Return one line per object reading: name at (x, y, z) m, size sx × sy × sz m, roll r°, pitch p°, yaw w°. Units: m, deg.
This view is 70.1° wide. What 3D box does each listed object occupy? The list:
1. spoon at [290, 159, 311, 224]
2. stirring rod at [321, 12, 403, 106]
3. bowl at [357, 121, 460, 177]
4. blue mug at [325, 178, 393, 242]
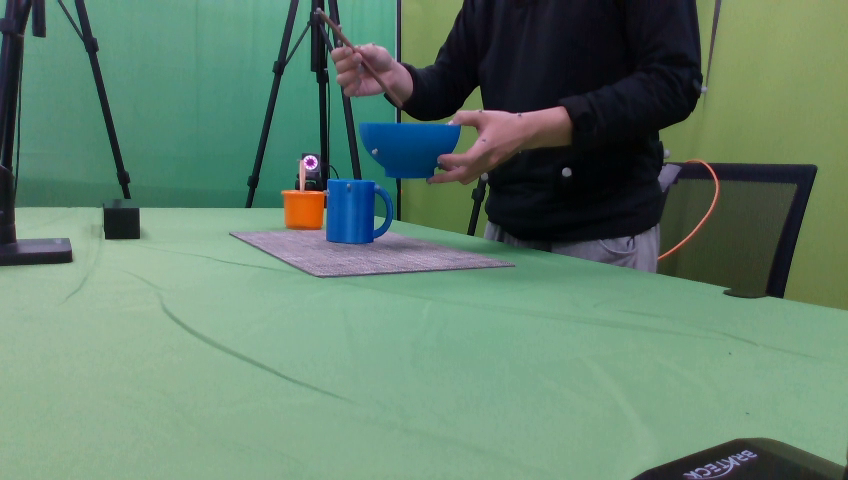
spoon at (-0.256, -0.104, 1.265) m, size 0.042 × 0.193 × 0.021 m, roll 1°, pitch -37°, yaw -9°
stirring rod at (-0.092, -0.269, 0.907) m, size 0.006 × 0.176 × 0.014 m, roll -47°, pitch 16°, yaw -15°
bowl at (-0.023, -0.134, 0.885) m, size 0.151 × 0.077 × 0.151 m, roll 1°, pitch 11°, yaw 0°
blue mug at (-0.111, -0.052, 1.034) m, size 0.116 × 0.106 × 0.082 m, roll 3°, pitch 7°, yaw 7°
